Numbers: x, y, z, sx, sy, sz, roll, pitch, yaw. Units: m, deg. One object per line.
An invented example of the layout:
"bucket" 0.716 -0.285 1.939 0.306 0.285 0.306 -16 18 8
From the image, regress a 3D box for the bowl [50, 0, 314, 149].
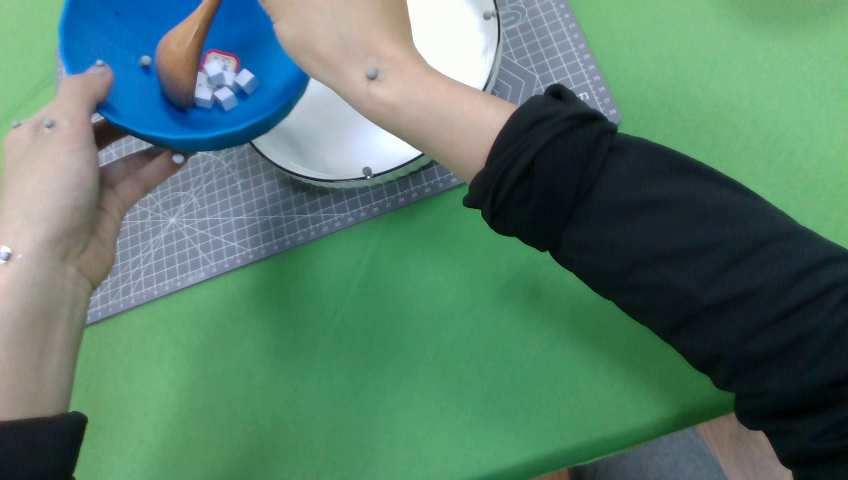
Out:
"bowl" -0.143 -0.118 0.393 0.151 0.077 0.150 1 73 -4

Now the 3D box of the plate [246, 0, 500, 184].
"plate" -0.044 -0.133 0.455 0.208 0.038 0.207 -5 69 14

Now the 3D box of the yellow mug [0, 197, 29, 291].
"yellow mug" -0.394 0.014 0.490 0.099 0.064 0.130 2 72 17

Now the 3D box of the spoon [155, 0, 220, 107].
"spoon" -0.116 -0.143 0.334 0.194 0.022 0.041 -42 79 40
